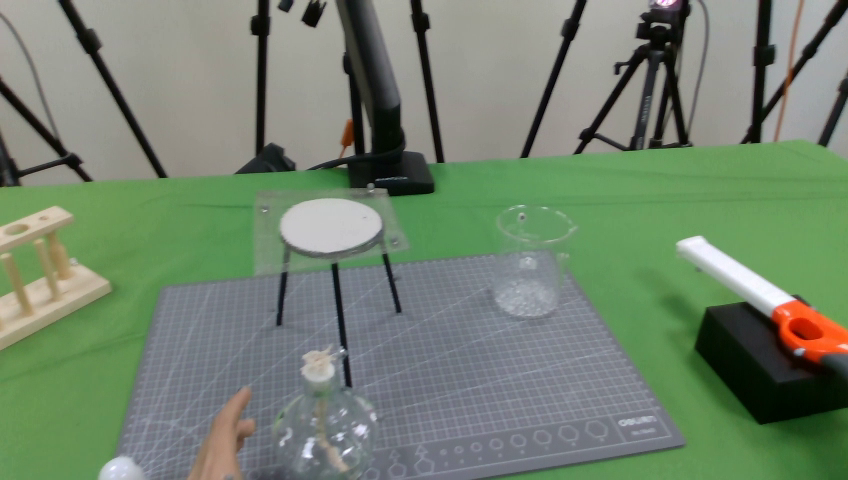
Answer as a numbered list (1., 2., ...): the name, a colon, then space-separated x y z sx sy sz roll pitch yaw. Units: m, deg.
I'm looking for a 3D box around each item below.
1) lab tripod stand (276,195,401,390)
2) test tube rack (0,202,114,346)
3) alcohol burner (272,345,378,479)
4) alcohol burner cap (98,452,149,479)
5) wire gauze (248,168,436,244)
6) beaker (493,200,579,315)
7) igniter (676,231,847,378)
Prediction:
1. lab tripod stand: -0.077 0.039 0.550 0.148 0.132 0.147 2 34 -1
2. test tube rack: -0.429 0.057 0.561 0.066 0.086 0.242 22 38 28
3. alcohol burner: -0.072 0.122 0.440 0.078 0.120 0.077 2 32 -1
4. alcohol burner cap: -0.212 0.170 0.428 0.034 0.048 0.033 2 33 -1
5. wire gauze: -0.070 -0.029 0.503 0.125 0.011 0.120 -11 31 -31
6. beaker: 0.111 0.020 0.618 0.084 0.101 0.073 -1 33 -3
7. igniter: 0.328 0.065 0.540 0.057 0.025 0.273 -14 33 -14
